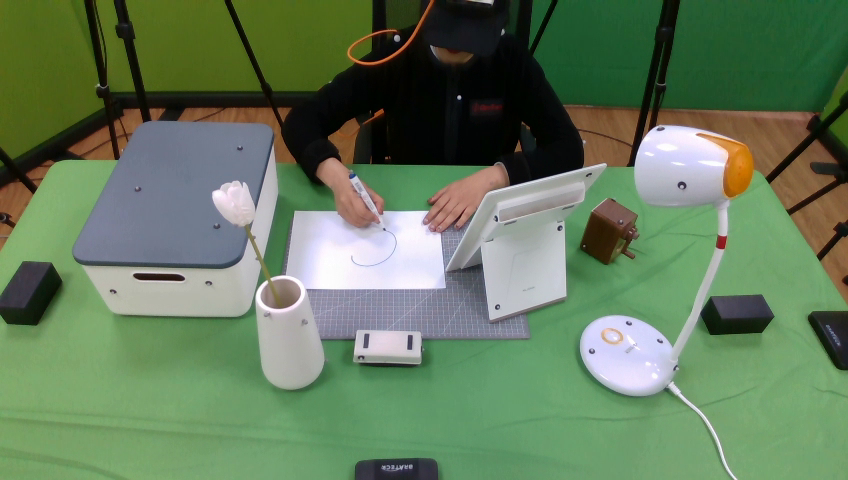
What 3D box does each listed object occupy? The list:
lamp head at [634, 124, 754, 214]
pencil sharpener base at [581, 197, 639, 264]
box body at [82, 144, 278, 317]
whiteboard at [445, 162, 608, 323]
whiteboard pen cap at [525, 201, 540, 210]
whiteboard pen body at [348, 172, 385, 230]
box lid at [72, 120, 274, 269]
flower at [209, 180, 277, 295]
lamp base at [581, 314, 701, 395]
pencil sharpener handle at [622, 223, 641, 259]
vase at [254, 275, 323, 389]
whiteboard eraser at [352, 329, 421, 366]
[{"bbox_3d":[0.351,-0.089,0.776,0.112,0.113,0.122,-30,30,-28],"label":"lamp head"},{"bbox_3d":[0.362,-0.017,1.179,0.076,0.107,0.061,37,54,27],"label":"pencil sharpener base"},{"bbox_3d":[-0.421,-0.041,1.108,0.254,0.161,0.361,2,46,-3],"label":"box body"},{"bbox_3d":[0.186,0.025,1.029,0.217,0.306,0.143,-14,68,-17],"label":"whiteboard"},{"bbox_3d":[0.230,-0.074,1.289,0.033,0.018,0.018,5,46,4],"label":"whiteboard pen cap"},{"bbox_3d":[-0.109,-0.073,1.186,0.017,0.141,0.017,-22,31,14],"label":"whiteboard pen body"},{"bbox_3d":[-0.417,-0.094,1.056,0.263,0.015,0.369,1,47,-3],"label":"box lid"},{"bbox_3d":[-0.217,0.075,0.871,0.044,0.363,0.038,-29,36,-19],"label":"flower"},{"bbox_3d":[0.361,0.144,0.973,0.178,0.181,0.160,34,53,23],"label":"lamp base"},{"bbox_3d":[0.397,0.003,1.146,0.030,0.068,0.036,37,46,27],"label":"pencil sharpener handle"},{"bbox_3d":[-0.209,0.143,0.921,0.098,0.201,0.097,1,46,-1],"label":"vase"},{"bbox_3d":[-0.061,0.180,1.005,0.113,0.042,0.055,3,48,-3],"label":"whiteboard eraser"}]
